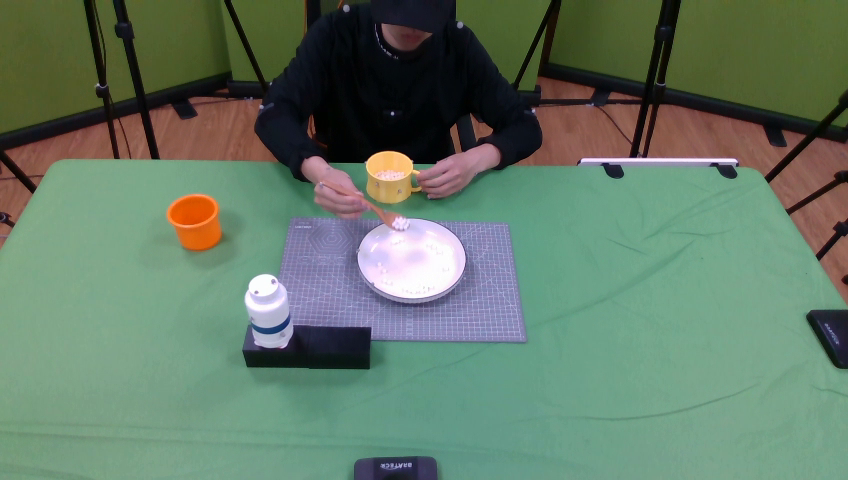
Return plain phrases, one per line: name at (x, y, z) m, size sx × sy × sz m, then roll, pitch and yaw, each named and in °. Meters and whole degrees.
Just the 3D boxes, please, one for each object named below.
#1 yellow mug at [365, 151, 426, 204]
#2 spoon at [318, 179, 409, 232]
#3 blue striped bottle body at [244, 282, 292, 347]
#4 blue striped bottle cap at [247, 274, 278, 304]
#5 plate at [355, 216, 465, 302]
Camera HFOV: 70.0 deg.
yellow mug at (-0.061, -0.133, 1.291) m, size 0.131 × 0.064 × 0.099 m, roll 8°, pitch 46°, yaw 3°
spoon at (-0.108, -0.065, 1.102) m, size 0.195 × 0.021 × 0.041 m, roll 31°, pitch 44°, yaw -30°
blue striped bottle body at (-0.241, 0.108, 0.937) m, size 0.063 × 0.121 × 0.062 m, roll 2°, pitch 46°, yaw -2°
blue striped bottle cap at (-0.239, 0.072, 0.900) m, size 0.044 × 0.021 × 0.044 m, roll 4°, pitch 46°, yaw -4°
plate at (-0.027, 0.039, 1.144) m, size 0.208 × 0.039 × 0.206 m, roll 2°, pitch 46°, yaw -2°
